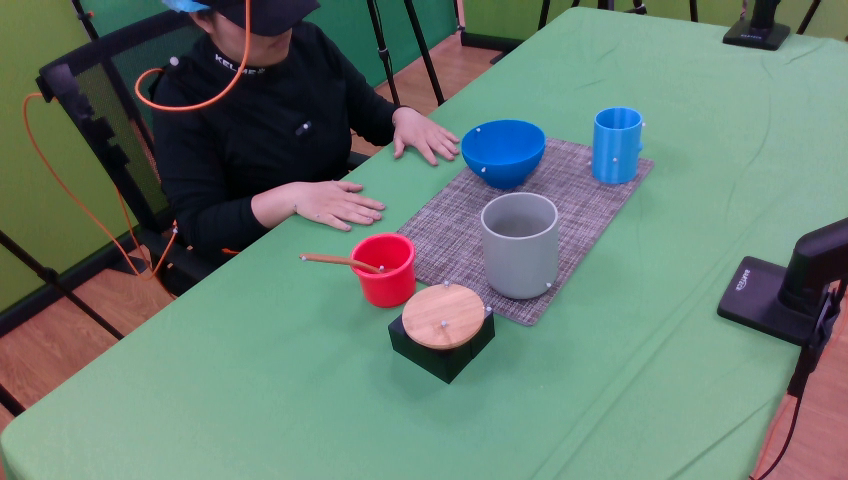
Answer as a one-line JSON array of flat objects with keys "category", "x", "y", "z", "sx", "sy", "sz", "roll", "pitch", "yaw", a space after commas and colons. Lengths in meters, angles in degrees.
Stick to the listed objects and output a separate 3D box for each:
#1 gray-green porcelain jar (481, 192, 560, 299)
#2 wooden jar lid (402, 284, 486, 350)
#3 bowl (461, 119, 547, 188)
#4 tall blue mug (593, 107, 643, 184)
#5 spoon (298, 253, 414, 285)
[{"category": "gray-green porcelain jar", "x": 0.138, "y": 0.012, "z": 0.858, "sx": 0.106, "sy": 0.127, "sz": 0.105, "roll": -6, "pitch": 40, "yaw": 5}, {"category": "wooden jar lid", "x": 0.026, "y": 0.101, "z": 0.786, "sx": 0.108, "sy": 0.021, "sz": 0.108, "roll": -5, "pitch": 39, "yaw": 4}, {"category": "bowl", "x": 0.145, "y": -0.146, "z": 1.082, "sx": 0.151, "sy": 0.077, "sz": 0.150, "roll": -5, "pitch": 40, "yaw": 5}, {"category": "tall blue mug", "x": 0.329, "y": -0.172, "z": 1.052, "sx": 0.078, "sy": 0.108, "sz": 0.106, "roll": -12, "pitch": 40, "yaw": -1}, {"category": "spoon", "x": -0.093, "y": 0.038, "z": 0.867, "sx": 0.195, "sy": 0.021, "sz": 0.041, "roll": 18, "pitch": 24, "yaw": -40}]
